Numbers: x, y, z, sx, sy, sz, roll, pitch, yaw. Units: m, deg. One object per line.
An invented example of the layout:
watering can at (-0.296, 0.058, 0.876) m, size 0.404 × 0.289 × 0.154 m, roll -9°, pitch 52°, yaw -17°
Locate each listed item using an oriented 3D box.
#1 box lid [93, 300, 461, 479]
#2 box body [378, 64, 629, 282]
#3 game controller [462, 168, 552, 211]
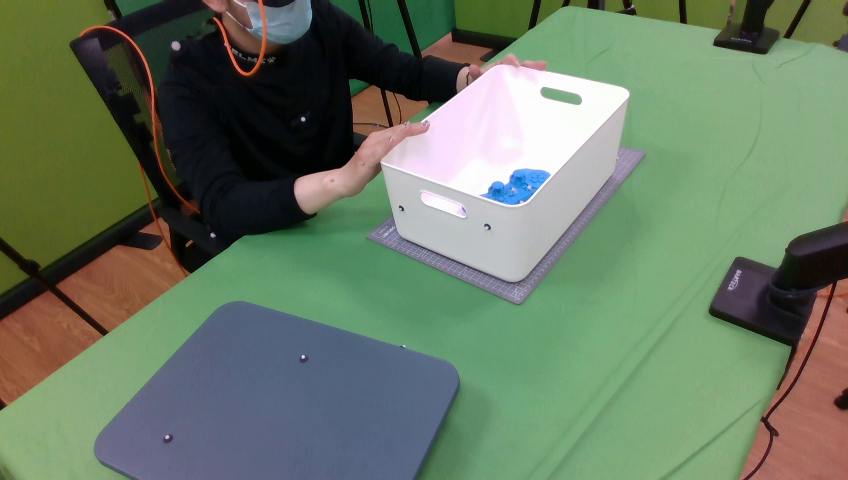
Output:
box lid at (-0.164, 0.200, 0.701) m, size 0.369 × 0.015 × 0.263 m, roll 13°, pitch 44°, yaw 21°
box body at (0.137, -0.121, 0.978) m, size 0.252 × 0.161 × 0.365 m, roll 22°, pitch 48°, yaw 30°
game controller at (0.147, -0.079, 1.007) m, size 0.156 × 0.052 × 0.096 m, roll -30°, pitch 50°, yaw -24°
